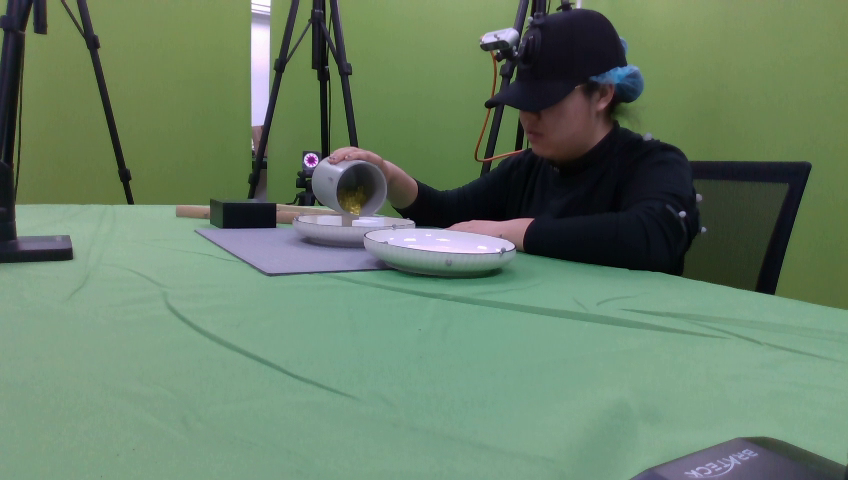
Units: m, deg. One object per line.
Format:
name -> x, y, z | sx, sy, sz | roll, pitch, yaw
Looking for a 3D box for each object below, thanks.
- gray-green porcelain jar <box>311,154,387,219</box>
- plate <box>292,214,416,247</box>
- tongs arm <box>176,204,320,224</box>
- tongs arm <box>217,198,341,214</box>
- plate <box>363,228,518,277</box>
gray-green porcelain jar -> -0.144, -0.103, 1.122 | 0.106, 0.106, 0.126 | -2, 15, -32
plate -> -0.118, -0.017, 1.024 | 0.208, 0.039, 0.207 | 2, 7, 0
tongs arm -> -0.333, -0.052, 1.273 | 0.387, 0.028, 0.028 | 4, 5, 4
tongs arm -> -0.313, -0.064, 1.352 | 0.384, 0.026, 0.051 | 6, 8, 17
plate -> 0.021, 0.016, 0.817 | 0.209, 0.038, 0.209 | 4, 9, 0
